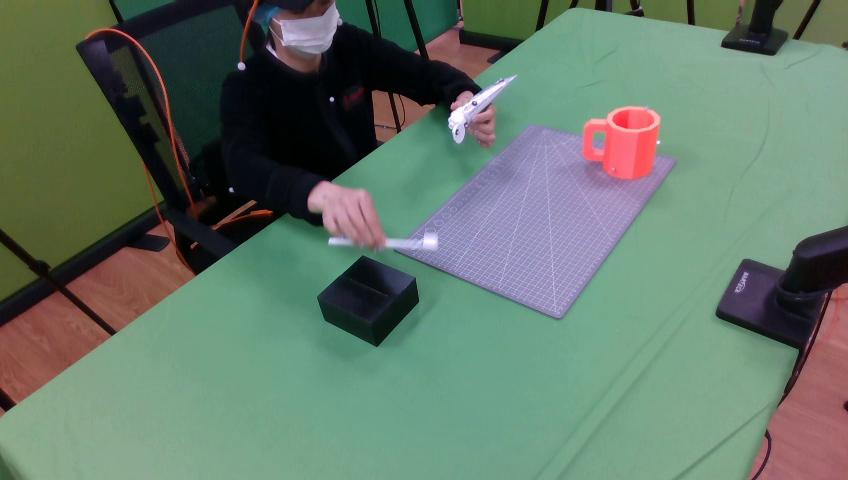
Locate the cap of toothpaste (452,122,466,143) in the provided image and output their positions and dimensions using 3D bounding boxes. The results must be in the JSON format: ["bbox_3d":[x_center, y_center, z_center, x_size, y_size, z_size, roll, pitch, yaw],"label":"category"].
[{"bbox_3d":[0.058,-0.182,1.022,0.011,0.037,0.037,13,44,28],"label":"cap of toothpaste"}]

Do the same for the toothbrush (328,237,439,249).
[{"bbox_3d":[-0.060,0.003,0.839,0.181,0.016,0.014,0,5,28],"label":"toothbrush"}]

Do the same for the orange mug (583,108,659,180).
[{"bbox_3d":[0.343,-0.171,1.061,0.126,0.101,0.083,10,43,15],"label":"orange mug"}]

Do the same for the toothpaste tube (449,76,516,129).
[{"bbox_3d":[0.100,-0.245,1.074,0.165,0.035,0.054,-45,28,-27],"label":"toothpaste tube"}]
